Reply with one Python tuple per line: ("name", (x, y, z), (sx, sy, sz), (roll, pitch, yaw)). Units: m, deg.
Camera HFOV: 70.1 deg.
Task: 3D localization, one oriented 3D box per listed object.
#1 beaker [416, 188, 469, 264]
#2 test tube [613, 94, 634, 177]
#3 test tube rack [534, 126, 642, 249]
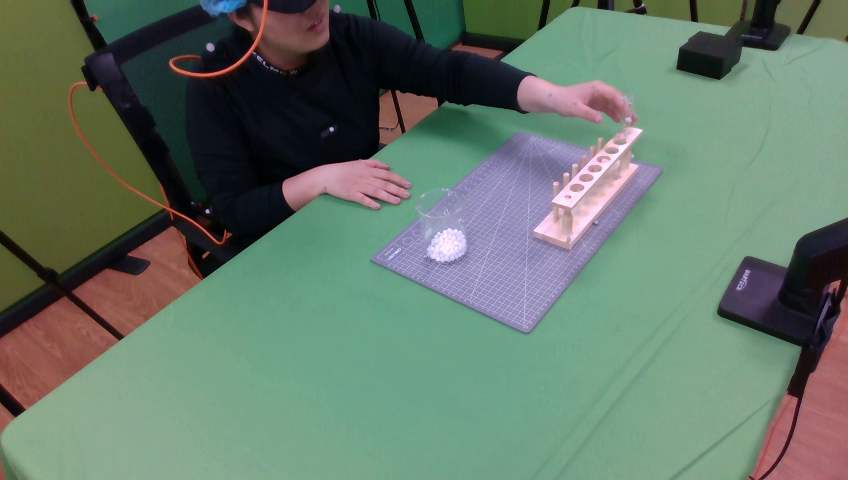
("beaker", (0.032, -0.021, 0.937), (0.073, 0.101, 0.084), (8, 42, 20))
("test tube", (0.326, -0.168, 0.988), (0.017, 0.151, 0.017), (-3, 40, 3))
("test tube rack", (0.271, -0.094, 0.989), (0.066, 0.085, 0.243), (23, 49, 33))
